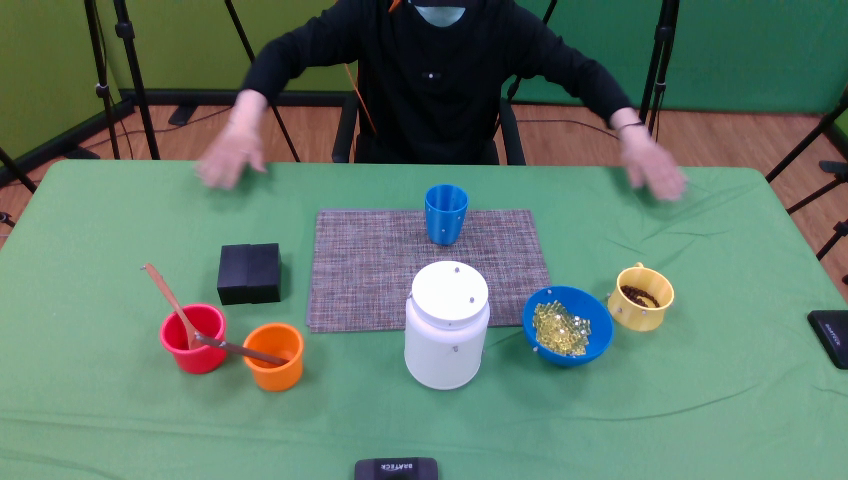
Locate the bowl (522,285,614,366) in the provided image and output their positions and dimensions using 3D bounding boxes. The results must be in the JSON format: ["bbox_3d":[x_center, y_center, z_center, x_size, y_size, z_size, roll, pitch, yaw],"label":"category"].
[{"bbox_3d":[0.235,0.158,1.022,0.151,0.077,0.150,2,46,-2],"label":"bowl"}]

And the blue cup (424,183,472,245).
[{"bbox_3d":[0.040,-0.045,1.182,0.093,0.101,0.092,2,44,-2],"label":"blue cup"}]

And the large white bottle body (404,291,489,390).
[{"bbox_3d":[0.033,0.136,0.955,0.131,0.185,0.130,2,46,-2],"label":"large white bottle body"}]

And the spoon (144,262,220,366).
[{"bbox_3d":[-0.389,0.118,0.971,0.041,0.021,0.194,-34,101,-33],"label":"spoon"}]

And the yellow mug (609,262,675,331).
[{"bbox_3d":[0.393,0.094,1.103,0.100,0.064,0.130,7,45,3],"label":"yellow mug"}]

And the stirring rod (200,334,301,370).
[{"bbox_3d":[-0.262,0.173,0.930,0.177,0.006,0.014,28,26,-39],"label":"stirring rod"}]

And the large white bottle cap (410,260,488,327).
[{"bbox_3d":[0.037,0.077,0.893,0.115,0.018,0.114,2,47,-2],"label":"large white bottle cap"}]
